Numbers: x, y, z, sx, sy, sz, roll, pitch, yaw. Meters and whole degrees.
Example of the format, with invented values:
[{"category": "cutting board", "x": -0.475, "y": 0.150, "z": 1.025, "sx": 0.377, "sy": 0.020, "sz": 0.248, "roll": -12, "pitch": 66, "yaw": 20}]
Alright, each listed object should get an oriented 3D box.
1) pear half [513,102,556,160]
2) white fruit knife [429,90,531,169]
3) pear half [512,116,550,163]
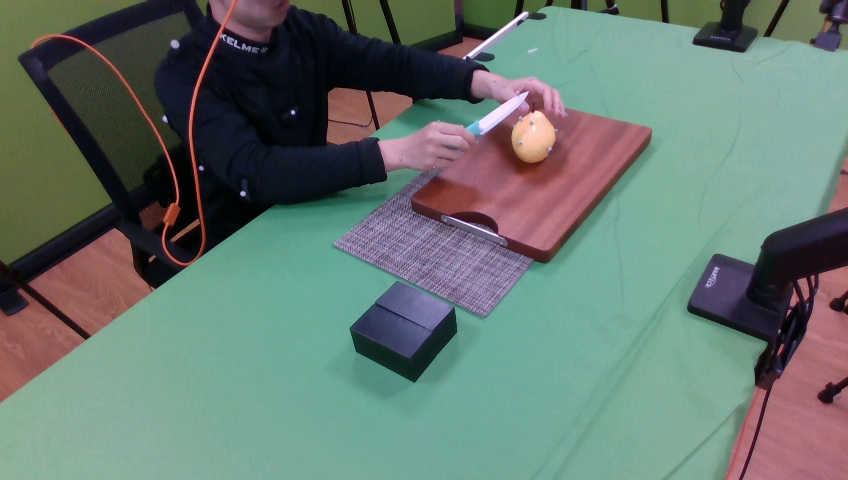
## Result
[{"category": "pear half", "x": 0.196, "y": -0.198, "z": 1.061, "sx": 0.076, "sy": 0.110, "sz": 0.056, "roll": 13, "pitch": 46, "yaw": 16}, {"category": "white fruit knife", "x": 0.090, "y": -0.187, "z": 1.009, "sx": 0.207, "sy": 0.027, "sz": 0.016, "roll": -33, "pitch": 17, "yaw": 16}, {"category": "pear half", "x": 0.182, "y": -0.169, "z": 1.043, "sx": 0.070, "sy": 0.088, "sz": 0.031, "roll": 13, "pitch": 45, "yaw": 18}]
